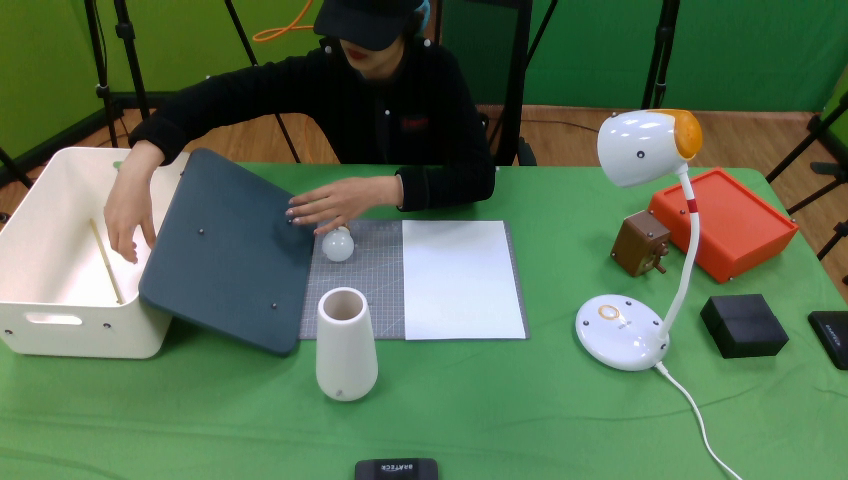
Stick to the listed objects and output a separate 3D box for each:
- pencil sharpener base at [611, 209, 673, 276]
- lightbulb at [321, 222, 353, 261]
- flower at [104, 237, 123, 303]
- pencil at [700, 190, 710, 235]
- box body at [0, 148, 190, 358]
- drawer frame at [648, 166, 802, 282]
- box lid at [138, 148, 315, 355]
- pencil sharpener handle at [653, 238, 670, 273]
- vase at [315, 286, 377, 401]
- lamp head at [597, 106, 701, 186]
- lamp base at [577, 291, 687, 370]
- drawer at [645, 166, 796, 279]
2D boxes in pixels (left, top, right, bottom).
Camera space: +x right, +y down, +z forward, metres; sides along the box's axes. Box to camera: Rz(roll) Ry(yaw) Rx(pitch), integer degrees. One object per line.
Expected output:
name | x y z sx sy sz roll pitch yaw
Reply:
pencil sharpener base | 0.416 0.007 1.158 0.061 0.107 0.076 -21 51 -22
lightbulb | -0.163 -0.001 1.164 0.059 0.060 0.107 4 31 0
flower | -0.556 0.069 1.090 0.044 0.038 0.359 -21 46 -21
pencil | 0.584 -0.059 1.256 0.012 0.012 0.193 16 34 12
box body | -0.546 0.017 1.045 0.254 0.161 0.361 2 46 -2
drawer frame | 0.603 -0.040 1.233 0.202 0.083 0.212 -21 51 -23
box lid | -0.322 0.008 1.063 0.264 0.015 0.369 30 38 -28
pencil sharpener handle | 0.444 0.030 1.120 0.036 0.068 0.030 -25 52 -18
vase | -0.119 0.159 0.911 0.098 0.201 0.097 2 47 -2
lamp head | 0.328 -0.138 0.864 0.112 0.113 0.122 -36 20 -32
lamp base | 0.361 0.110 1.003 0.160 0.181 0.178 -30 57 -28
drawer | 0.600 -0.041 1.236 0.195 0.073 0.210 -21 51 -23
